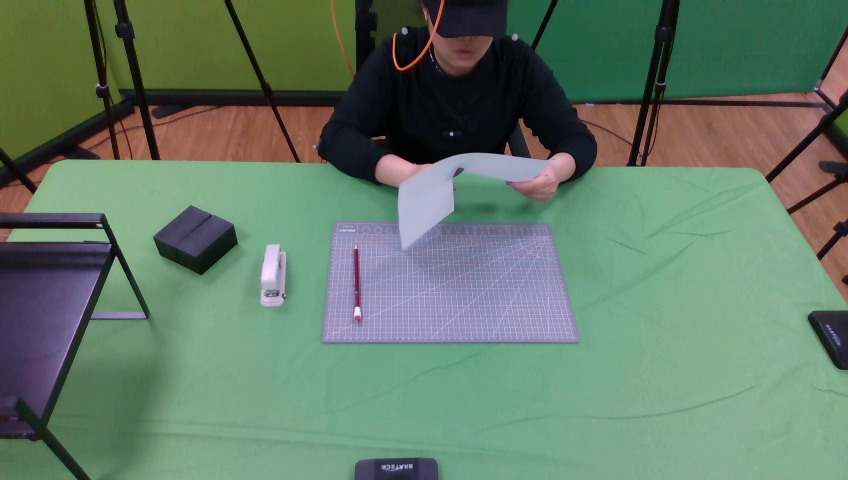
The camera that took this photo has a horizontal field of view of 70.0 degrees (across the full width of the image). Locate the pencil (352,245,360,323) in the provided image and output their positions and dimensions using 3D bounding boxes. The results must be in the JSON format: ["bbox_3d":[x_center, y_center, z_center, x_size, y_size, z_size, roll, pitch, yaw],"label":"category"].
[{"bbox_3d":[-0.127,0.076,1.120,0.012,0.012,0.192,-2,44,-7],"label":"pencil"}]

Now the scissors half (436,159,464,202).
[{"bbox_3d":[0.051,-0.115,1.168,0.013,0.175,0.040,-6,70,-16],"label":"scissors half"}]

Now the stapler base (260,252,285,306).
[{"bbox_3d":[-0.279,0.064,1.113,0.041,0.024,0.129,-2,44,-9],"label":"stapler base"}]

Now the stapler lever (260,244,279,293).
[{"bbox_3d":[-0.279,0.045,1.096,0.027,0.040,0.117,-2,44,-9],"label":"stapler lever"}]

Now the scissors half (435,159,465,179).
[{"bbox_3d":[0.050,-0.137,1.170,0.013,0.040,0.174,-1,7,-16],"label":"scissors half"}]
